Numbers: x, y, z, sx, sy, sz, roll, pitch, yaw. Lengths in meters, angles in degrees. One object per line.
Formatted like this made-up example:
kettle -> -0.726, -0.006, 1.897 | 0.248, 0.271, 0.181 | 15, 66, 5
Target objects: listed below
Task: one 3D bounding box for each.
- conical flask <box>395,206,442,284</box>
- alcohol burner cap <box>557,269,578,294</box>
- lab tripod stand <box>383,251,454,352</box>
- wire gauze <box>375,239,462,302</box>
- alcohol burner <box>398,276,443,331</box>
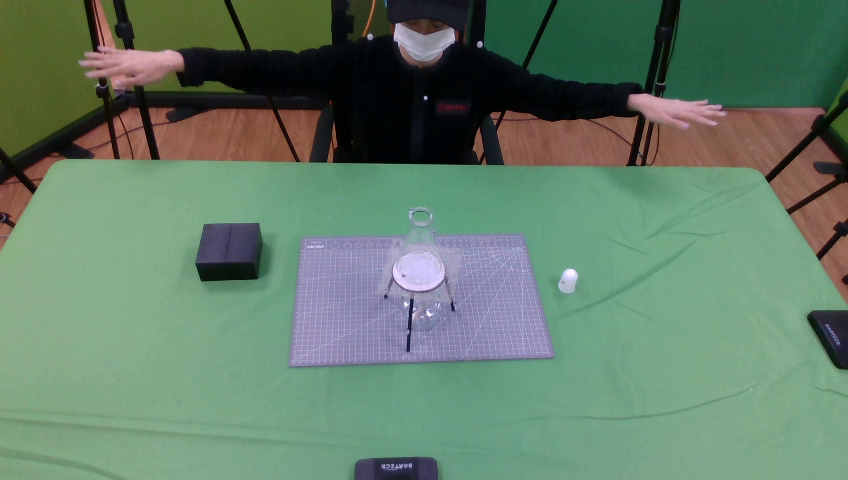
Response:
conical flask -> -0.007, 0.005, 0.937 | 0.075, 0.122, 0.075 | 2, 45, -1
alcohol burner cap -> 0.270, 0.074, 1.135 | 0.034, 0.048, 0.033 | 2, 46, -2
lab tripod stand -> -0.016, 0.094, 1.025 | 0.148, 0.132, 0.147 | 1, 46, -1
wire gauze -> -0.006, 0.049, 0.977 | 0.121, 0.011, 0.124 | 10, 44, 5
alcohol burner -> -0.005, 0.100, 1.033 | 0.078, 0.119, 0.077 | 3, 48, -3
